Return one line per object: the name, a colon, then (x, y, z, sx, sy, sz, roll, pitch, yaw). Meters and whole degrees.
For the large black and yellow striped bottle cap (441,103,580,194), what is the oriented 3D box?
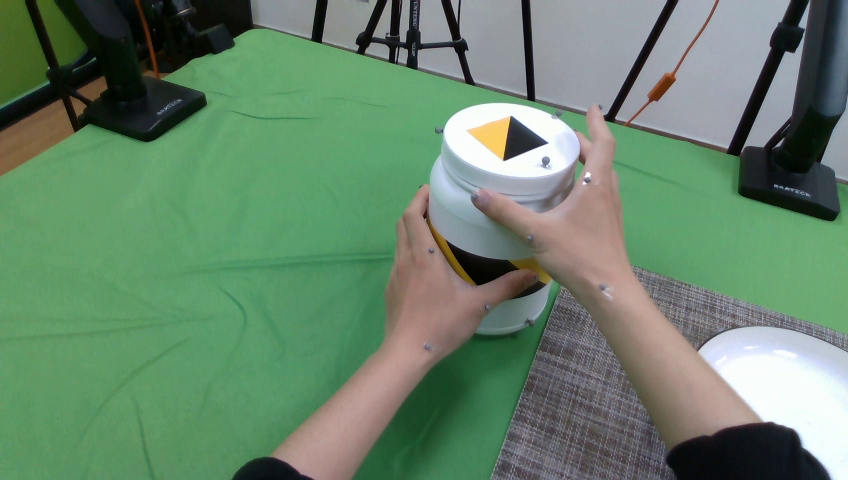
large black and yellow striped bottle cap: (0.072, -0.080, 0.506, 0.115, 0.019, 0.114, 2, 41, -2)

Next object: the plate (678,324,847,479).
plate: (0.312, 0.160, 0.501, 0.208, 0.039, 0.205, 3, 42, -3)

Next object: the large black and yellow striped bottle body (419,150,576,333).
large black and yellow striped bottle body: (0.066, -0.017, 0.564, 0.131, 0.185, 0.129, 3, 42, -2)
